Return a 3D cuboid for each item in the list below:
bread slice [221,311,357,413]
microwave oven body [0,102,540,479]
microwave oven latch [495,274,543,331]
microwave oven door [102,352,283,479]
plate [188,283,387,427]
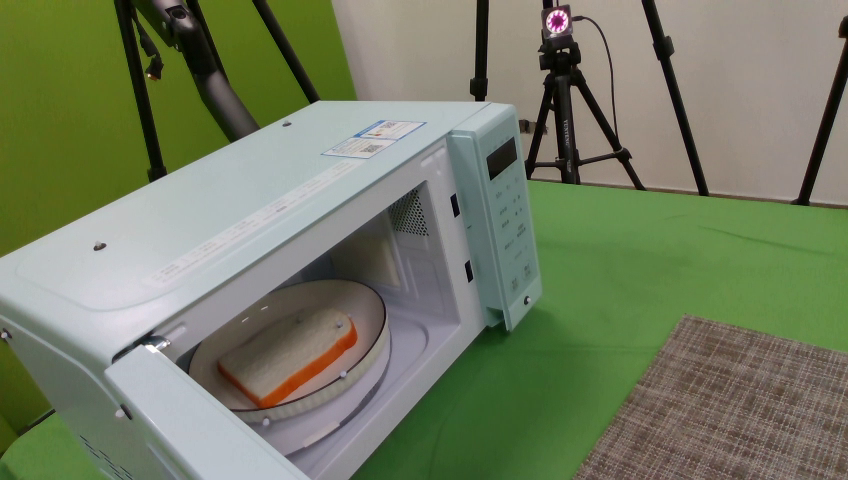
[{"bbox_3d":[-0.138,0.121,0.634,0.131,0.019,0.104,-36,36,-30],"label":"bread slice"},{"bbox_3d":[-0.132,0.055,0.633,0.323,0.262,0.441,11,37,37],"label":"microwave oven body"},{"bbox_3d":[0.110,0.070,0.702,0.030,0.030,0.079,11,37,38],"label":"microwave oven latch"},{"bbox_3d":[-0.030,0.206,0.291,0.352,0.246,0.039,16,40,44],"label":"microwave oven door"},{"bbox_3d":[-0.136,0.118,0.630,0.209,0.038,0.207,-11,28,7],"label":"plate"}]
